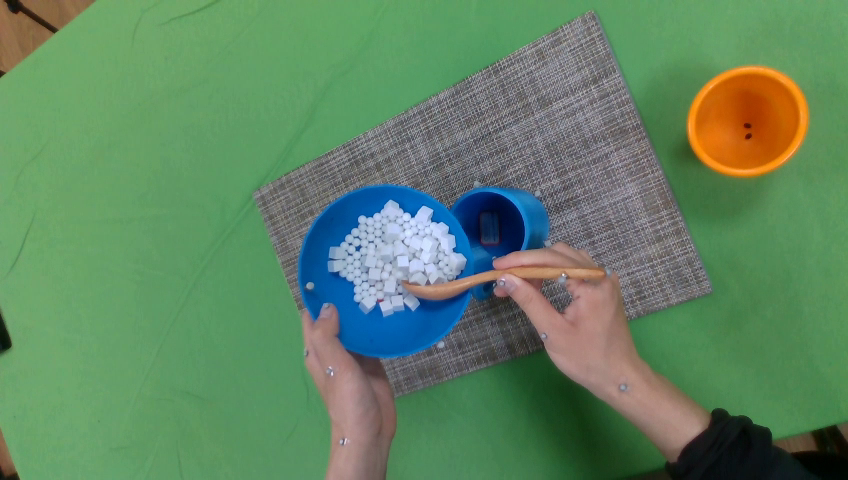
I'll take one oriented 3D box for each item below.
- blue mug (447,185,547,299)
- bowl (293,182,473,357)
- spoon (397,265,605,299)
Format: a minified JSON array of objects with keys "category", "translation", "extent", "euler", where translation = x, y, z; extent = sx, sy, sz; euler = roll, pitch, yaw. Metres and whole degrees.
[{"category":"blue mug","translation":[0.069,0.003,0.604],"extent":[0.082,0.106,0.117],"euler":[17,101,19]},{"category":"bowl","translation":[-0.036,0.031,0.545],"extent":[0.151,0.077,0.150],"euler":[1,79,-5]},{"category":"spoon","translation":[0.053,0.031,0.487],"extent":[0.193,0.042,0.021],"euler":[-12,69,40]}]
